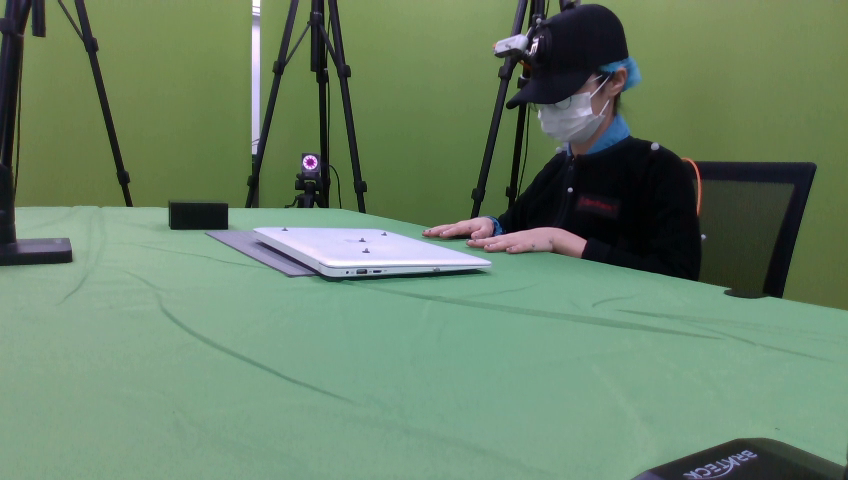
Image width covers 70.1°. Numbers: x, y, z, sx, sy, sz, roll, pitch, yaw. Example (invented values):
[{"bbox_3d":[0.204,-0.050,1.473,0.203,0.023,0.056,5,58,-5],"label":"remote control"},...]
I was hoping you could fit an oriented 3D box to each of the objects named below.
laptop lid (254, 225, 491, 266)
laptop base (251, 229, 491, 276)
[{"bbox_3d":[-0.093,0.003,0.888,0.243,0.013,0.355,1,8,-28],"label":"laptop lid"},{"bbox_3d":[-0.095,0.015,0.888,0.237,0.023,0.352,2,7,-30],"label":"laptop base"}]
